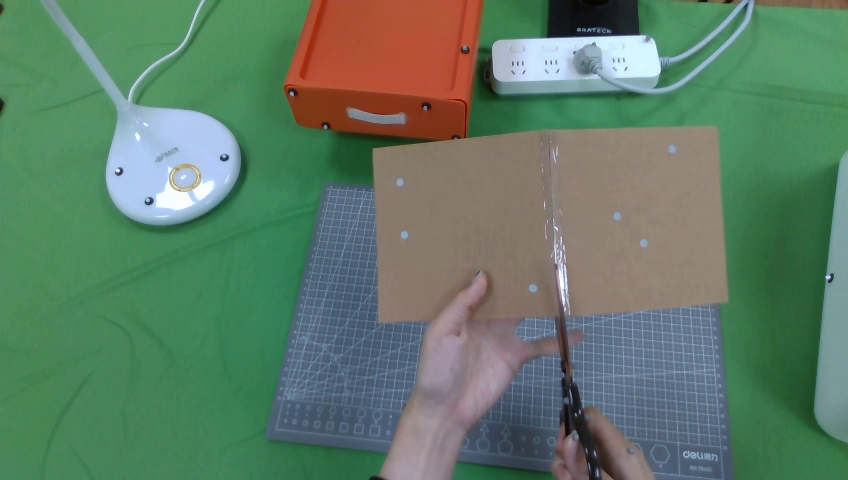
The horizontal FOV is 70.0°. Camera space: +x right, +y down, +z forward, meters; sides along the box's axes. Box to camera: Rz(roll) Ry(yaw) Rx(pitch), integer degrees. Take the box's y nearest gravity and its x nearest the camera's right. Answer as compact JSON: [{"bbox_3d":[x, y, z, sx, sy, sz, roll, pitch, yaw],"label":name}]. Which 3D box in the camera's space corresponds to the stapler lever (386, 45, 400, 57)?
[{"bbox_3d":[-0.066,-0.219,0.698,0.117,0.040,0.027,34,86,21],"label":"stapler lever"}]

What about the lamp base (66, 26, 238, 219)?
[{"bbox_3d":[-0.319,-0.137,0.669,0.178,0.182,0.160,36,70,21],"label":"lamp base"}]

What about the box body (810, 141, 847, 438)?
[{"bbox_3d":[0.532,0.036,0.561,0.253,0.161,0.362,18,66,11],"label":"box body"}]

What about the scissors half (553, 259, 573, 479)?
[{"bbox_3d":[0.102,0.097,0.443,0.013,0.040,0.176,-7,108,4],"label":"scissors half"}]

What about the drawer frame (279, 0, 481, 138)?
[{"bbox_3d":[-0.042,-0.233,0.711,0.201,0.083,0.212,6,64,6],"label":"drawer frame"}]

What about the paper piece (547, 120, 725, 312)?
[{"bbox_3d":[0.156,-0.019,0.442,0.136,0.004,0.135,-3,90,-11],"label":"paper piece"}]

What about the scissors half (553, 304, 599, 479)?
[{"bbox_3d":[0.101,0.096,0.419,0.013,0.040,0.174,-6,69,-1],"label":"scissors half"}]

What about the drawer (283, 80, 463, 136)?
[{"bbox_3d":[-0.040,-0.231,0.710,0.194,0.074,0.210,6,64,6],"label":"drawer"}]

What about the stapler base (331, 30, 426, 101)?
[{"bbox_3d":[-0.058,-0.212,0.722,0.129,0.024,0.041,34,86,20],"label":"stapler base"}]

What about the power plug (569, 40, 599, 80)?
[{"bbox_3d":[0.195,-0.213,0.743,0.035,0.053,0.072,9,65,7],"label":"power plug"}]

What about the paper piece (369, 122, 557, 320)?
[{"bbox_3d":[0.026,-0.011,0.447,0.135,0.009,0.138,-3,92,17],"label":"paper piece"}]

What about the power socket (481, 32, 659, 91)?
[{"bbox_3d":[0.187,-0.228,0.776,0.227,0.033,0.071,0,65,2],"label":"power socket"}]
